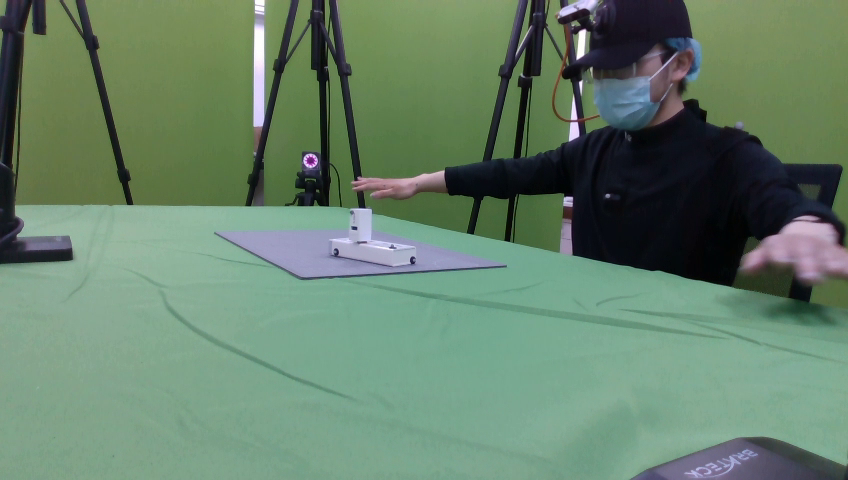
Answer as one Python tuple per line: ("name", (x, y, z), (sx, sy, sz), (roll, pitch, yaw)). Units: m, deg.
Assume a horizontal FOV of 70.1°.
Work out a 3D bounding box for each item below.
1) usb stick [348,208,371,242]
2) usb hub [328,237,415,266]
("usb stick", (-0.088, -0.014, 0.826), (0.021, 0.059, 0.027), (7, 11, 37))
("usb hub", (-0.074, 0.014, 0.836), (0.124, 0.025, 0.050), (7, 9, 38))
